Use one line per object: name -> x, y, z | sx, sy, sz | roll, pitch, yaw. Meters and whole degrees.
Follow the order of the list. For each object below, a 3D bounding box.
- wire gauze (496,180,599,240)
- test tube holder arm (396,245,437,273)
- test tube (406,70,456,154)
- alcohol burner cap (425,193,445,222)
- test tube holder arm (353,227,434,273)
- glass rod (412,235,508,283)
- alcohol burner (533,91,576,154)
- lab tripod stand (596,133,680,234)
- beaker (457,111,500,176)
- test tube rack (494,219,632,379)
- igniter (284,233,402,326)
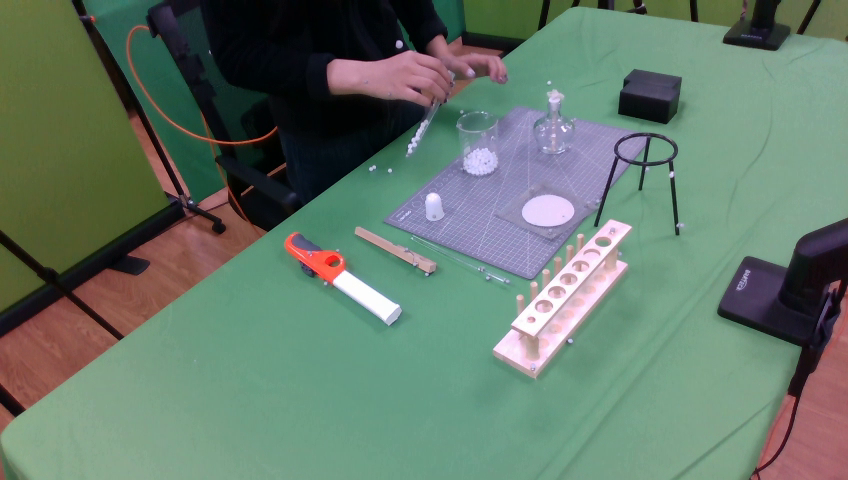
wire gauze -> 0.206, -0.050, 1.012 | 0.125, 0.011, 0.120 | -34, 45, -26
test tube holder arm -> -0.016, 0.029, 0.957 | 0.087, 0.015, 0.010 | 25, 16, 35
test tube -> 0.010, -0.209, 0.993 | 0.017, 0.017, 0.150 | 40, 105, 42
alcohol burner cap -> 0.017, -0.058, 1.029 | 0.034, 0.048, 0.033 | -6, 40, 5
test tube holder arm -> -0.053, 0.014, 0.978 | 0.177, 0.015, 0.013 | 25, 16, 34
glass rod -> 0.051, 0.028, 0.951 | 0.198, 0.008, 0.008 | 25, 51, 37
alcohol burner -> 0.243, -0.222, 1.124 | 0.078, 0.119, 0.077 | -4, 39, 4
lab tripod stand -> 0.338, -0.090, 0.940 | 0.148, 0.132, 0.147 | -7, 39, 6
beaker -> 0.104, -0.176, 1.108 | 0.073, 0.101, 0.084 | 16, 46, 27
test tube rack -> 0.191, 0.068, 0.818 | 0.066, 0.085, 0.243 | 25, 51, 35
igniter -> -0.136, 0.054, 0.942 | 0.274, 0.025, 0.057 | 30, 63, 37
